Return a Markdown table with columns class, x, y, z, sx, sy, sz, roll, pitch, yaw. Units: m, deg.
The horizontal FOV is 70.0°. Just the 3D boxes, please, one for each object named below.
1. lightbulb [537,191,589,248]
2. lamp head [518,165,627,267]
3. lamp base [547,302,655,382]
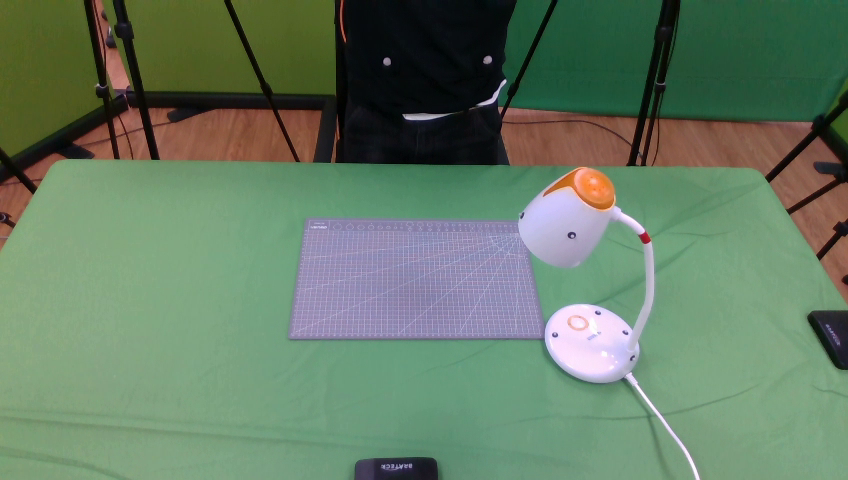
| class | x | y | z | sx | sy | sz | roll | pitch | yaw |
| --- | --- | --- | --- | --- | --- | --- | --- | --- | --- |
| lightbulb | 0.193 | -0.031 | 0.826 | 0.059 | 0.108 | 0.059 | 7 | 59 | -11 |
| lamp head | 0.203 | -0.037 | 0.803 | 0.113 | 0.123 | 0.112 | 12 | 55 | -18 |
| lamp base | 0.303 | 0.127 | 0.982 | 0.160 | 0.181 | 0.178 | -33 | 59 | -29 |
